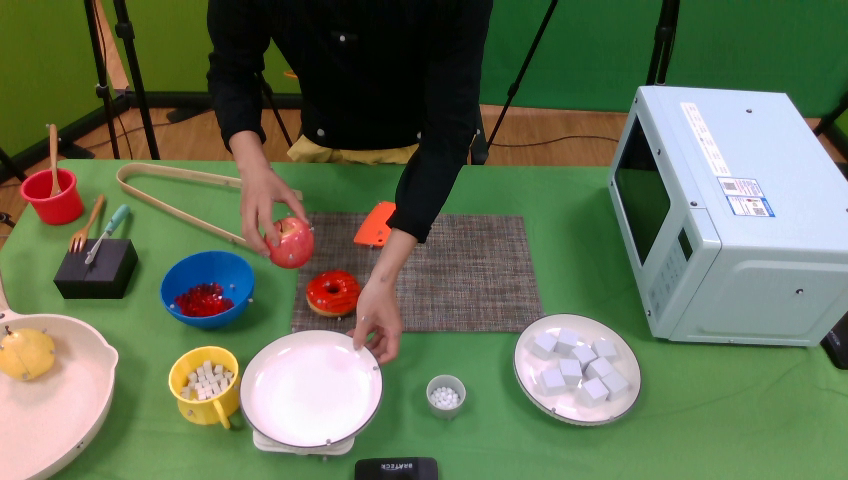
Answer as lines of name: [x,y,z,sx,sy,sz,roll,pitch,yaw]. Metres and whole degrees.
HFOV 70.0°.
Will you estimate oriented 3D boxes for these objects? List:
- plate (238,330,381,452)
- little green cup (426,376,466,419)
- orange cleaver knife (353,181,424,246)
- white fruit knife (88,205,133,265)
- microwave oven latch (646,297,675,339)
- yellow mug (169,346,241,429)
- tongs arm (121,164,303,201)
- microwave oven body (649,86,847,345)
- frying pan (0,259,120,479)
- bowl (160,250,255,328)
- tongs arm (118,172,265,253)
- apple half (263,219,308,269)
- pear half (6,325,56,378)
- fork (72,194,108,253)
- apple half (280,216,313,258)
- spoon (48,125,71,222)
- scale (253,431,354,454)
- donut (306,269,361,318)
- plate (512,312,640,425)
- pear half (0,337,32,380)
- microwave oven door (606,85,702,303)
plate: [-0.167,0.224,0.901,0.209,0.038,0.208,4,40,-3]
little green cup: [0.033,0.248,0.950,0.061,0.039,0.061,2,46,-2]
orange cleaver knife: [-0.070,-0.059,1.245,0.077,0.012,0.210,18,50,21]
white fruit knife: [-0.584,-0.013,1.129,0.016,0.027,0.206,0,31,-5]
microwave oven latch: [0.412,0.134,1.061,0.030,0.029,0.078,4,45,1]
yellow mug: [-0.322,0.231,0.922,0.100,0.064,0.130,-24,53,-26]
tongs arm: [-0.444,-0.114,1.267,0.384,0.026,0.050,12,50,8]
microwave oven body: [0.567,-0.053,1.118,0.326,0.261,0.439,2,45,-1]
frying pan: [-0.647,0.164,0.936,0.307,0.103,0.485,-19,58,-22]
bowl: [-0.362,0.098,1.039,0.151,0.077,0.150,2,45,-2]
tongs arm: [-0.473,-0.055,1.211,0.386,0.028,0.028,23,56,18]
apple half: [-0.232,0.013,0.988,0.053,0.075,0.080,-37,55,-26]
pear half: [-0.608,0.158,0.935,0.076,0.110,0.056,31,51,20]
fork: [-0.634,-0.036,1.158,0.028,0.019,0.206,-8,32,-8]
apple half: [-0.204,-0.007,1.006,0.033,0.082,0.081,-36,58,-26]
spoon: [-0.718,-0.131,1.188,0.041,0.021,0.193,-3,90,-7]
scale: [-0.175,0.236,0.951,0.149,0.032,0.199,4,46,-1]
donut: [-0.160,0.095,1.075,0.099,0.048,0.098,4,45,-4]
plate: [0.246,0.213,0.999,0.208,0.039,0.206,2,46,-2]
pear half: [-0.631,0.184,0.921,0.070,0.088,0.031,29,49,19]
microwave oven door: [0.422,-0.094,1.140,0.039,0.245,0.353,2,46,-1]
